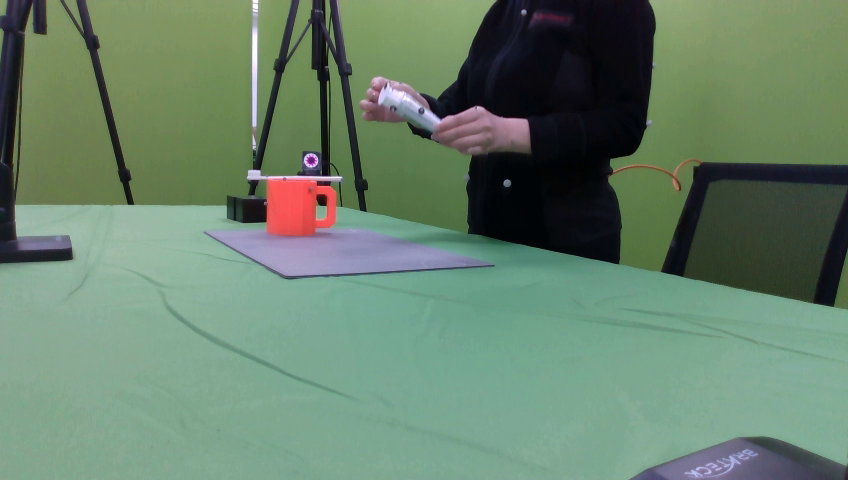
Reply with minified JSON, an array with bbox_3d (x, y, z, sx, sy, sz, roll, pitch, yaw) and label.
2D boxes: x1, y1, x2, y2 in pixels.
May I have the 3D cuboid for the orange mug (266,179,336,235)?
[{"bbox_3d":[-0.222,-0.062,1.094,0.127,0.101,0.083,-5,10,-22],"label":"orange mug"}]

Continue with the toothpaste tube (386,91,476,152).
[{"bbox_3d":[0.010,-0.185,0.955,0.166,0.034,0.055,27,20,-19],"label":"toothpaste tube"}]

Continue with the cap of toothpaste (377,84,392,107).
[{"bbox_3d":[-0.060,-0.221,0.929,0.011,0.037,0.037,17,-1,-28],"label":"cap of toothpaste"}]

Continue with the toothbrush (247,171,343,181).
[{"bbox_3d":[-0.230,-0.115,1.092,0.183,0.016,0.014,-2,5,-35],"label":"toothbrush"}]
